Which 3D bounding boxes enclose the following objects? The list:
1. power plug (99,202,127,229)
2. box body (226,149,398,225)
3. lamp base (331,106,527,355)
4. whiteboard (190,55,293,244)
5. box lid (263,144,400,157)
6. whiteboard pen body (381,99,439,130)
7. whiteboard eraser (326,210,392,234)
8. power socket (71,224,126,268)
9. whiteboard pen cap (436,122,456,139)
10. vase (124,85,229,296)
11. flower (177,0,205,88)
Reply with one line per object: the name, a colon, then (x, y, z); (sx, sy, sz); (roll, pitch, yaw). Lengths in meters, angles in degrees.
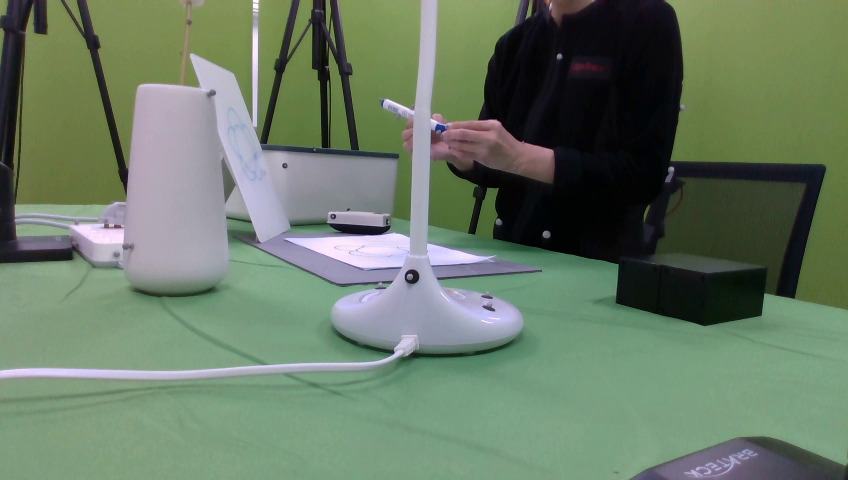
power plug: (-0.415, -0.026, 0.848); (0.073, 0.052, 0.035); (6, 5, -28)
box body: (-0.265, -0.129, 1.380); (0.253, 0.160, 0.366); (8, 9, 39)
lamp base: (0.006, -0.012, 0.478); (0.161, 0.180, 0.179); (2, 10, 2)
whiteboard: (-0.362, -0.129, 1.029); (0.144, 0.305, 0.217); (-18, 7, 3)
box lid: (-0.263, -0.203, 1.369); (0.262, 0.015, 0.373); (9, 10, 39)
whiteboard pen body: (-0.013, -0.202, 0.990); (0.140, 0.017, 0.017); (29, 19, 25)
whiteboard eraser: (-0.121, -0.033, 1.131); (0.112, 0.042, 0.056); (4, 8, 13)
power socket: (-0.409, 0.004, 0.793); (0.072, 0.032, 0.225); (-2, 8, -37)
whiteboard pen cap: (0.034, -0.175, 0.965); (0.033, 0.018, 0.018); (31, 21, 26)
vase: (-0.244, -0.047, 0.598); (0.098, 0.200, 0.098); (3, 8, 0)
flower: (-0.243, -0.131, 0.609); (0.044, 0.361, 0.038); (-5, -12, 11)
